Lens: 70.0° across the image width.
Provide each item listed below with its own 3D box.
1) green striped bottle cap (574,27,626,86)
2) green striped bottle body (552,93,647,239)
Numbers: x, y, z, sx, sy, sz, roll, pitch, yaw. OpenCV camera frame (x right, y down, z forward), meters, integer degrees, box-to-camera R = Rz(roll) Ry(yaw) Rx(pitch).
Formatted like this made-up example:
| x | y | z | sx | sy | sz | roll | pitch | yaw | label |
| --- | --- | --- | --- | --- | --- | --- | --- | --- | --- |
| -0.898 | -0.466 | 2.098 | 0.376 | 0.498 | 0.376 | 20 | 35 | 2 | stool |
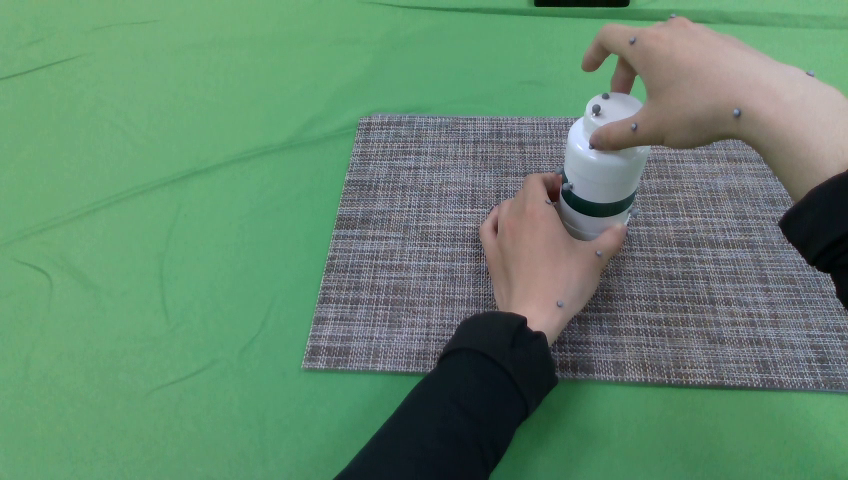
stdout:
| x | y | z | sx | sy | sz | roll | pitch | yaw | label |
| --- | --- | --- | --- | --- | --- | --- | --- | --- | --- |
| 0.139 | -0.145 | 0.479 | 0.044 | 0.045 | 0.020 | -37 | 38 | -23 | green striped bottle cap |
| 0.142 | -0.060 | 0.496 | 0.063 | 0.120 | 0.062 | -2 | 50 | 2 | green striped bottle body |
